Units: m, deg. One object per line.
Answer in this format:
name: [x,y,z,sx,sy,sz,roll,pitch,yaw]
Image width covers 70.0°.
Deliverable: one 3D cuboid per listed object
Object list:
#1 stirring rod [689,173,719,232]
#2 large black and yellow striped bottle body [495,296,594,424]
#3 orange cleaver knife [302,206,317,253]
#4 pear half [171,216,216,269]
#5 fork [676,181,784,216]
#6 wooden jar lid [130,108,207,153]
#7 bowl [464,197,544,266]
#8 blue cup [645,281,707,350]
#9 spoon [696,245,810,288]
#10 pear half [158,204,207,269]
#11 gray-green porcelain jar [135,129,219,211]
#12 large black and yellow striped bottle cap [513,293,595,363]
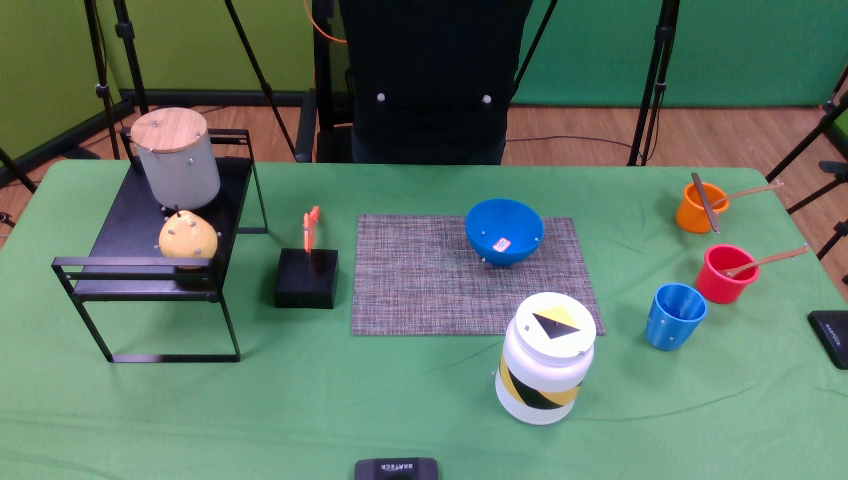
stirring rod: [0.565,-0.080,1.225,0.014,0.006,0.175,2,46,2]
large black and yellow striped bottle body: [0.183,0.182,0.923,0.131,0.185,0.130,2,46,-2]
orange cleaver knife: [-0.217,-0.024,1.150,0.012,0.077,0.210,-2,11,-5]
pear half: [-0.323,0.007,0.867,0.031,0.088,0.070,25,46,20]
fork: [0.618,-0.084,1.235,0.207,0.019,0.028,-23,20,38]
wooden jar lid: [-0.383,-0.162,0.914,0.108,0.021,0.107,4,46,-4]
bowl: [0.149,-0.004,1.167,0.151,0.077,0.150,2,46,-2]
blue cup: [0.425,0.136,1.042,0.092,0.101,0.092,1,44,-1]
spoon: [0.601,0.047,1.114,0.193,0.022,0.041,-26,36,33]
pear half: [-0.352,-0.015,0.873,0.056,0.110,0.076,25,45,19]
gray-green porcelain jar: [-0.386,-0.118,0.959,0.106,0.127,0.105,2,46,-2]
large black and yellow striped bottle cap: [0.186,0.123,0.863,0.115,0.019,0.114,3,45,-3]
